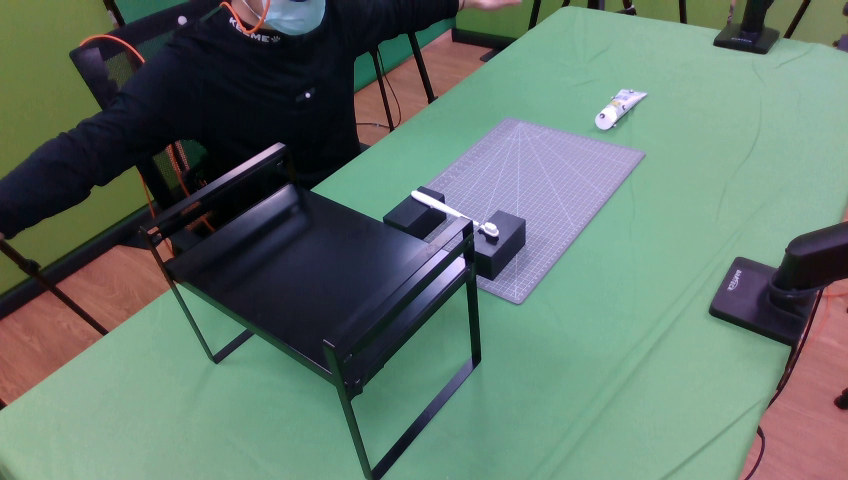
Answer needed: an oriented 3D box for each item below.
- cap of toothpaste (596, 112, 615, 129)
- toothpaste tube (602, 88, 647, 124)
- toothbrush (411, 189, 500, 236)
[{"bbox_3d":[0.354,-0.234,1.177,0.037,0.037,0.011,20,44,28],"label":"cap of toothpaste"},{"bbox_3d":[0.400,-0.274,1.227,0.054,0.034,0.165,23,45,26],"label":"toothpaste tube"},{"bbox_3d":[0.044,-0.046,0.940,0.180,0.017,0.014,28,67,36],"label":"toothbrush"}]
